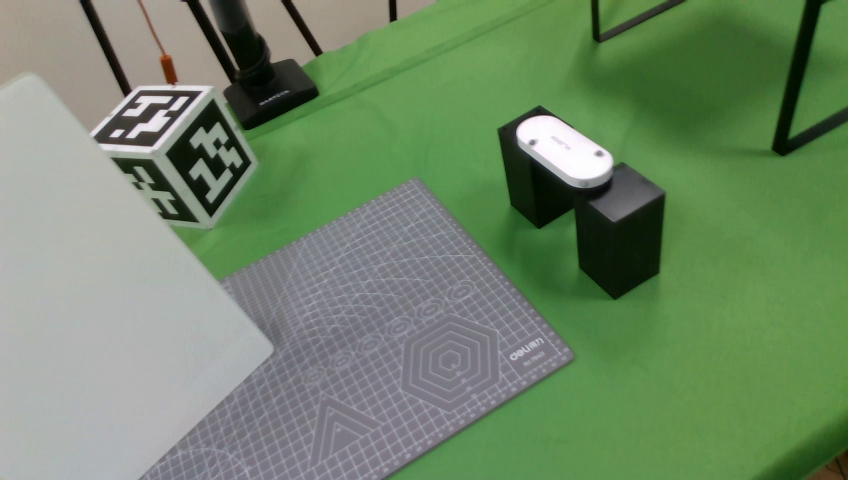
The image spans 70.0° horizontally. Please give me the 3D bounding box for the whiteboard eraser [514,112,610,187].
[{"bbox_3d":[0.115,-0.080,0.516,0.041,0.019,0.100,-30,48,-13],"label":"whiteboard eraser"}]

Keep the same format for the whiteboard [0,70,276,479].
[{"bbox_3d":[-0.319,0.051,0.513,0.217,0.308,0.142,-45,32,-22],"label":"whiteboard"}]
